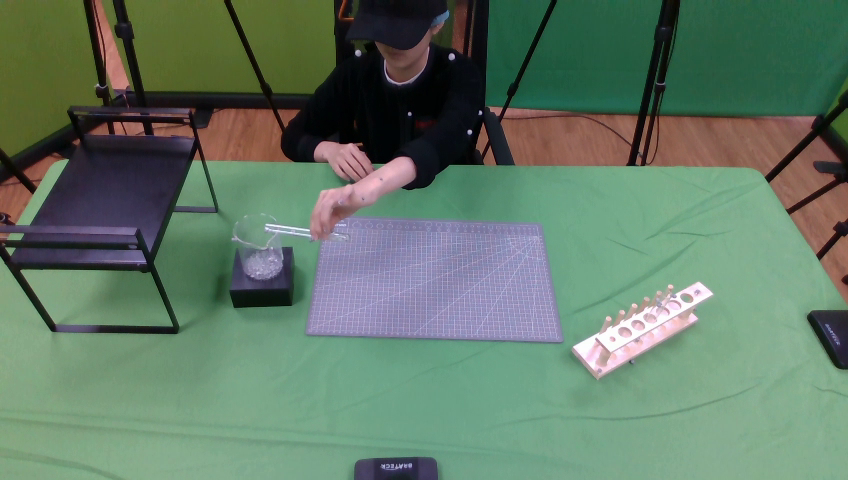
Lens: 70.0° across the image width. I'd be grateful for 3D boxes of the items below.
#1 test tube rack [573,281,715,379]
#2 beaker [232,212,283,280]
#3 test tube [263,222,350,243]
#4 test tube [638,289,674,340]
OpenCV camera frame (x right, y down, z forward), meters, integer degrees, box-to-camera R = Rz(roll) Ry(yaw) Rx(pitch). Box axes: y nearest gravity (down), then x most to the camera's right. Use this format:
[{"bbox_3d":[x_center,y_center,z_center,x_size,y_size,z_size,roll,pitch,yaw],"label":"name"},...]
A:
[{"bbox_3d":[0.378,0.140,1.038,0.242,0.085,0.066,-22,51,-23],"label":"test tube rack"},{"bbox_3d":[-0.280,0.016,1.036,0.074,0.101,0.083,-18,50,-20],"label":"beaker"},{"bbox_3d":[-0.191,-0.012,0.980,0.150,0.017,0.017,8,46,14],"label":"test tube"},{"bbox_3d":[0.373,0.124,0.983,0.017,0.151,0.017,0,54,0],"label":"test tube"}]
